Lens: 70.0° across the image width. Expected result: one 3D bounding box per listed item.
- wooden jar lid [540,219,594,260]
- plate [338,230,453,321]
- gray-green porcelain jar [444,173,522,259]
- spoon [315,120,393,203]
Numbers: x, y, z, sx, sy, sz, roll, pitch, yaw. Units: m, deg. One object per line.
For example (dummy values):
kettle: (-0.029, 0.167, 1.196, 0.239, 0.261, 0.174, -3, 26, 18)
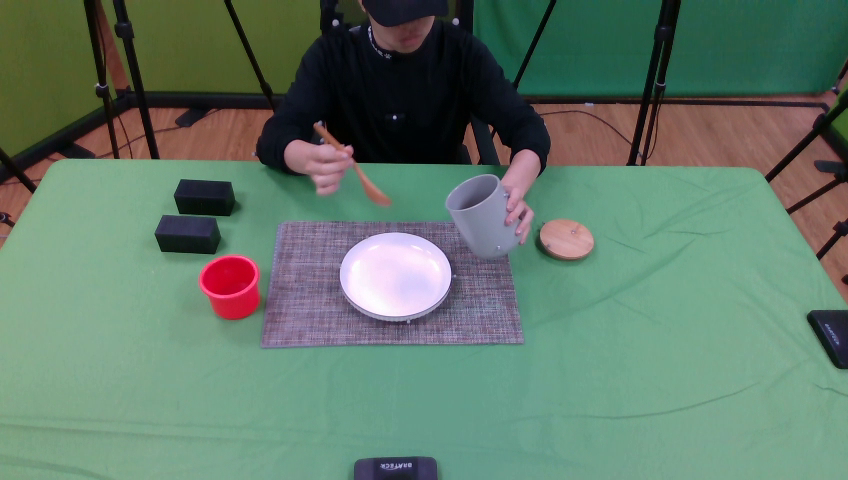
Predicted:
wooden jar lid: (0.286, 0.001, 1.218, 0.108, 0.021, 0.107, 1, 46, -1)
plate: (-0.052, 0.068, 1.111, 0.208, 0.039, 0.206, 2, 46, -2)
gray-green porcelain jar: (0.109, -0.039, 1.082, 0.106, 0.127, 0.105, -24, 30, 15)
spoon: (-0.118, -0.129, 1.023, 0.041, 0.195, 0.021, -6, 41, 49)
